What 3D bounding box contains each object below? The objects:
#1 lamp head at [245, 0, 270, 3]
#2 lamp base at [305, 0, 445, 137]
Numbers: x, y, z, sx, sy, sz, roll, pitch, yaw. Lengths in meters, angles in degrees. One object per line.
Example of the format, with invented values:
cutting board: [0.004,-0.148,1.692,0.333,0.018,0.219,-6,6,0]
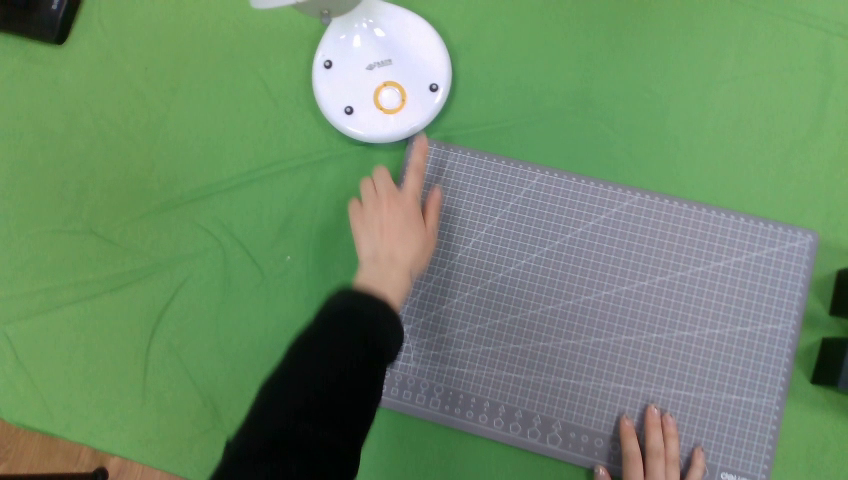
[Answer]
lamp head: [-0.070,-0.207,0.330,0.112,0.111,0.124,-18,117,2]
lamp base: [-0.069,-0.218,0.618,0.160,0.181,0.178,-27,78,0]
